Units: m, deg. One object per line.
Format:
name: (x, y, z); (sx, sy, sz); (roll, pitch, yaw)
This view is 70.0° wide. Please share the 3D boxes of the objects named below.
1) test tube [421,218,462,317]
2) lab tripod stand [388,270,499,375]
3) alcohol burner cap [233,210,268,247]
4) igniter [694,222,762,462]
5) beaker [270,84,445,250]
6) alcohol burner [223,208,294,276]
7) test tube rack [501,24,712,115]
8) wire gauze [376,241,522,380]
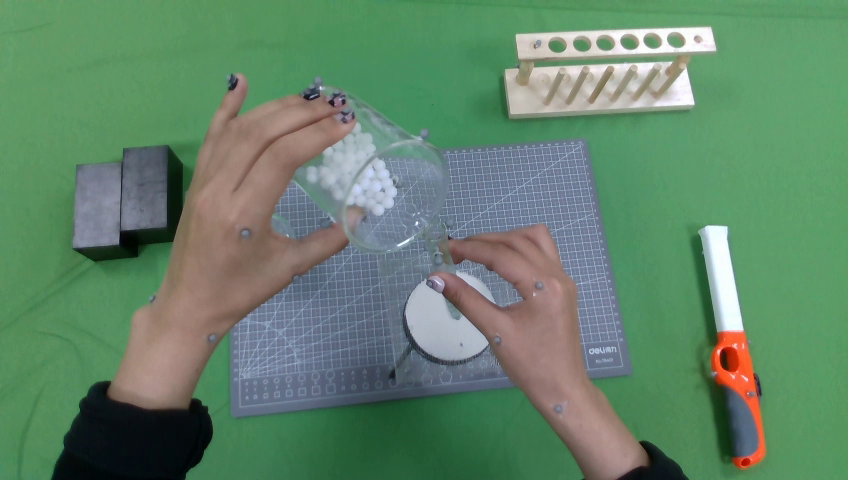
test tube: (0.015, 0.026, 0.450); (0.017, 0.151, 0.017); (-3, 63, 7)
lab tripod stand: (0.018, 0.086, 0.632); (0.148, 0.132, 0.147); (0, 73, -1)
alcohol burner cap: (-0.180, -0.013, 0.623); (0.034, 0.048, 0.033); (2, 76, -7)
igniter: (0.351, 0.112, 0.703); (0.057, 0.025, 0.275); (2, 74, -13)
beaker: (-0.044, -0.049, 0.380); (0.074, 0.085, 0.099); (-51, 52, 2)
alcohol burner: (-0.183, -0.003, 0.657); (0.078, 0.120, 0.077); (1, 71, -2)
test tube rack: (0.226, -0.212, 0.760); (0.242, 0.085, 0.066); (-4, 74, -4)
wire gauze: (0.023, 0.064, 0.569); (0.125, 0.011, 0.120); (-6, 73, -6)
